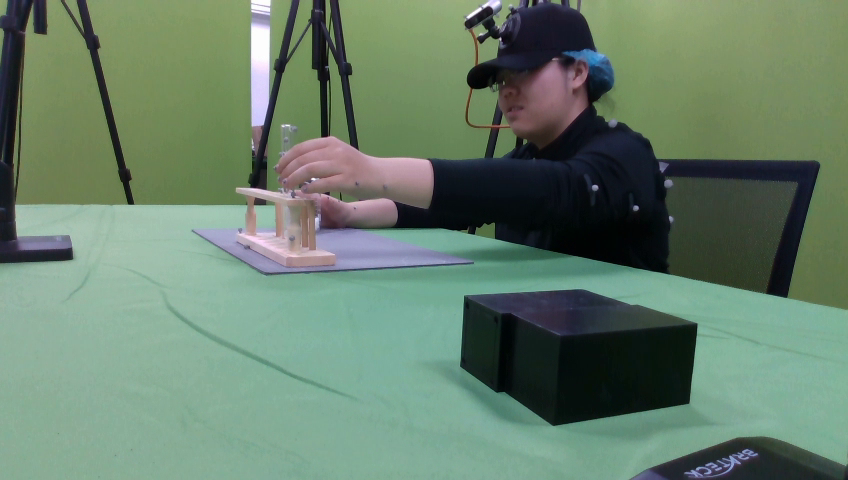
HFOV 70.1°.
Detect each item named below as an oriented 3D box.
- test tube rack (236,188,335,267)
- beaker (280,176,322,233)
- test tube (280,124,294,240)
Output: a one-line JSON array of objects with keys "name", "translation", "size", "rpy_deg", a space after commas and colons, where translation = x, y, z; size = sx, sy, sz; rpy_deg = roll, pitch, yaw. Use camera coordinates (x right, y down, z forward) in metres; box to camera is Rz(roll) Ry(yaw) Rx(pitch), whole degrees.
[{"name": "test tube rack", "translation": [-0.202, -0.024, 0.855], "size": [0.067, 0.085, 0.241], "rpy_deg": [-2, 9, -31]}, {"name": "beaker", "translation": [-0.225, -0.065, 1.111], "size": [0.074, 0.100, 0.083], "rpy_deg": [-2, 10, -30]}, {"name": "test tube", "translation": [-0.177, -0.074, 0.782], "size": [0.017, 0.150, 0.017], "rpy_deg": [0, 6, 0]}]
